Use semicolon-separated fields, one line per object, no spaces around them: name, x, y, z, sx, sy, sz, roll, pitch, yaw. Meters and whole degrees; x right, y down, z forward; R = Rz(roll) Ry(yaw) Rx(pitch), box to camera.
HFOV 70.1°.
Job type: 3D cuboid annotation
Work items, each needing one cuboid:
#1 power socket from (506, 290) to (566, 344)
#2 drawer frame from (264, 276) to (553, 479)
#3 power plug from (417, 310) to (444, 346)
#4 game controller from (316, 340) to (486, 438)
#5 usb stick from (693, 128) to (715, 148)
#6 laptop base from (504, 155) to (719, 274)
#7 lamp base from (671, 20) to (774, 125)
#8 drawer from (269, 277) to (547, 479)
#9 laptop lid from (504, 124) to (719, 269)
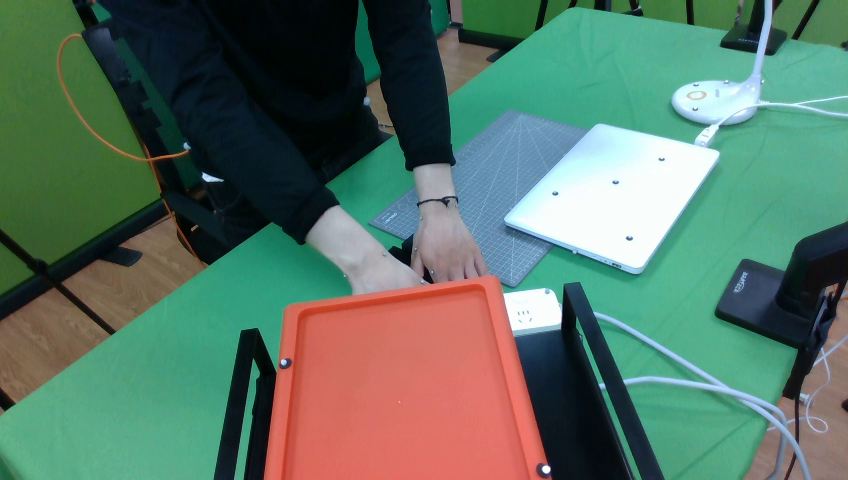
power socket;0.081;0.112;0.822;0.227;0.033;0.072;-7;40;0
drawer frame;-0.016;0.137;0.490;0.202;0.083;0.212;-8;41;-1
power plug;0.007;0.122;0.783;0.035;0.053;0.072;1;40;8
game controller;-0.021;0.120;0.534;0.155;0.052;0.096;-3;37;0
usb stick;0.502;-0.176;1.092;0.021;0.027;0.059;29;55;28
laptop base;0.326;-0.083;1.028;0.233;0.023;0.355;21;48;32
lamp base;0.581;-0.332;1.153;0.179;0.181;0.160;2;42;7
drawer;-0.018;0.137;0.493;0.195;0.073;0.210;-7;41;-1
laptop lid;0.323;-0.093;1.021;0.240;0.013;0.358;23;49;32
